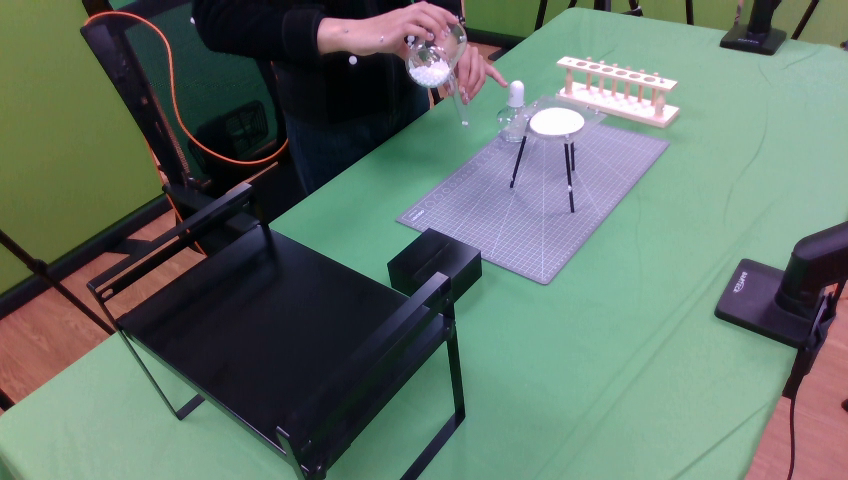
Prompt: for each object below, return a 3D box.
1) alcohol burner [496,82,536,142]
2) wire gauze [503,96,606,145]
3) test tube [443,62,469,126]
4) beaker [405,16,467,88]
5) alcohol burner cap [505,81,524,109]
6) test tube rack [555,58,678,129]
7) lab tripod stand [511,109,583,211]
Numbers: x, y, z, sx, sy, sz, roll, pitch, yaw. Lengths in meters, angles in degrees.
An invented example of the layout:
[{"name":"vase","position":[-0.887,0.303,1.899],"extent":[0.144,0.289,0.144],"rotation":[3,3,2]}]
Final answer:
[{"name":"alcohol burner","position":[0.178,-0.250,1.168],"extent":[0.078,0.119,0.077],"rotation":[-5,42,5]},{"name":"wire gauze","position":[0.211,-0.192,0.975],"extent":[0.120,0.011,0.125],"rotation":[24,49,32]},{"name":"test tube","position":[0.056,-0.245,1.033],"extent":[0.017,0.151,0.017],"rotation":[-7,59,13]},{"name":"beaker","position":[0.018,-0.280,0.914],"extent":[0.073,0.084,0.100],"rotation":[6,43,17]},{"name":"alcohol burner cap","position":[0.173,-0.277,1.145],"extent":[0.034,0.048,0.033],"rotation":[1,40,-1]},{"name":"test tube rack","position":[0.390,-0.307,1.229],"extent":[0.240,0.085,0.067],"rotation":[26,50,33]},{"name":"lab tripod stand","position":[0.220,-0.138,1.014],"extent":[0.148,0.132,0.147],"rotation":[-3,41,3]}]
